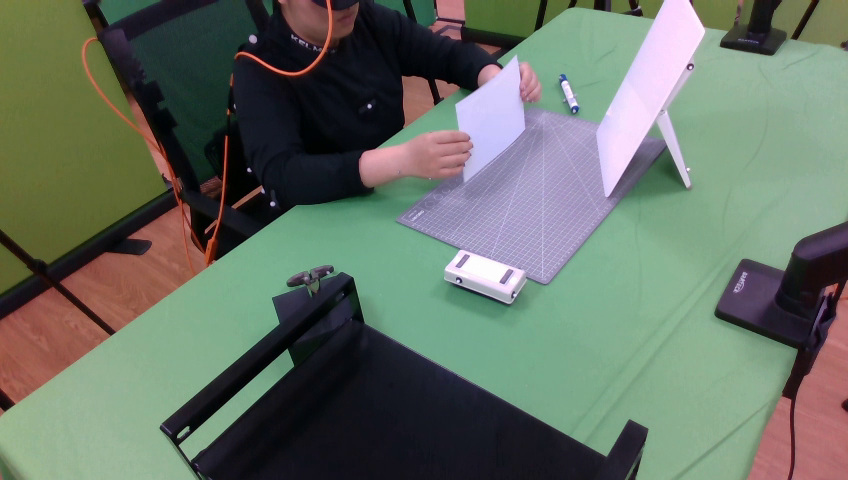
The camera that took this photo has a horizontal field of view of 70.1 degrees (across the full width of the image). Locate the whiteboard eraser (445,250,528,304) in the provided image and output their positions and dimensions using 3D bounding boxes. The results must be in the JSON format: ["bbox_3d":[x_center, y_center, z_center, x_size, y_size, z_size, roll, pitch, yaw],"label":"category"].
[{"bbox_3d":[0.090,0.056,0.882,0.112,0.042,0.056,17,44,27],"label":"whiteboard eraser"}]

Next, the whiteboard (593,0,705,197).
[{"bbox_3d":[0.421,-0.227,1.009,0.144,0.305,0.216,17,41,-3],"label":"whiteboard"}]

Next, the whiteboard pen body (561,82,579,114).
[{"bbox_3d":[0.311,-0.311,1.297,0.017,0.017,0.140,-6,41,2],"label":"whiteboard pen body"}]

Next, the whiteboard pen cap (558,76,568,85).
[{"bbox_3d":[0.310,-0.350,1.340,0.018,0.018,0.033,-6,41,2],"label":"whiteboard pen cap"}]

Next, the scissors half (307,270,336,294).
[{"bbox_3d":[-0.151,0.061,0.872,0.040,0.013,0.175,-5,6,-4],"label":"scissors half"}]

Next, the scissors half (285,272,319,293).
[{"bbox_3d":[-0.171,0.064,0.868,0.040,0.013,0.174,-13,8,-21],"label":"scissors half"}]
